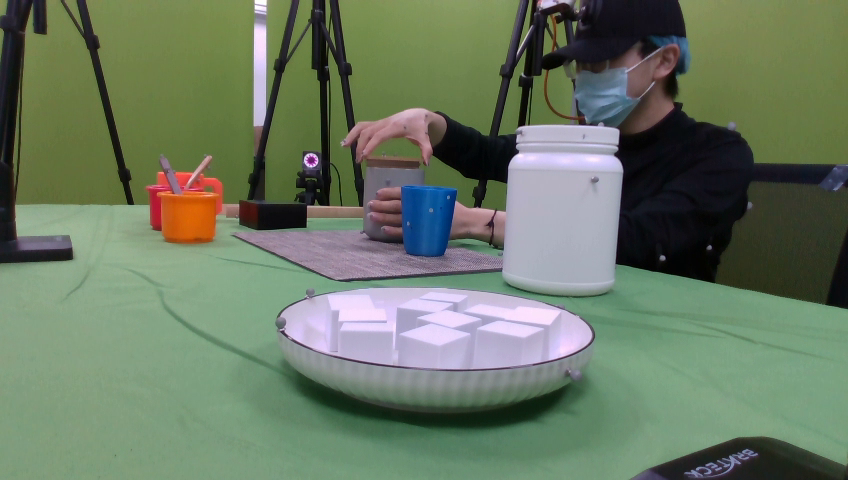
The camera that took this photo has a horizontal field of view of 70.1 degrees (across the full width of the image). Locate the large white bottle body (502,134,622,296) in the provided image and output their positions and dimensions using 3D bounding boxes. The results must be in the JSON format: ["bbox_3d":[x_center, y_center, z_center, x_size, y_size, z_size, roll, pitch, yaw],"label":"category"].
[{"bbox_3d":[0.161,-0.037,0.706,0.131,0.184,0.130,2,7,0],"label":"large white bottle body"}]

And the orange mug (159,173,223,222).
[{"bbox_3d":[-0.477,-0.089,1.241,0.127,0.101,0.083,-7,11,-33],"label":"orange mug"}]

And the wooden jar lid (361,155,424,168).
[{"bbox_3d":[-0.055,-0.136,1.046,0.108,0.020,0.108,2,8,0],"label":"wooden jar lid"}]

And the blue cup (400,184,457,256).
[{"bbox_3d":[0.003,-0.029,0.901,0.093,0.100,0.092,4,8,0],"label":"blue cup"}]

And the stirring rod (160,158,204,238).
[{"bbox_3d":[-0.391,-0.070,0.972,0.014,0.006,0.175,-2,50,-48],"label":"stirring rod"}]

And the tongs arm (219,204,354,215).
[{"bbox_3d":[-0.289,-0.068,1.435,0.389,0.027,0.028,0,-1,-18],"label":"tongs arm"}]

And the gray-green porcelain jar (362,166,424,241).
[{"bbox_3d":[-0.054,-0.064,1.053,0.106,0.126,0.106,2,8,0],"label":"gray-green porcelain jar"}]

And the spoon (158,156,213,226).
[{"bbox_3d":[-0.435,-0.094,1.121,0.041,0.022,0.193,5,51,13],"label":"spoon"}]

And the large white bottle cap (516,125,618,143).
[{"bbox_3d":[0.164,-0.120,0.695,0.115,0.018,0.115,2,7,0],"label":"large white bottle cap"}]

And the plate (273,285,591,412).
[{"bbox_3d":[0.005,0.069,0.408,0.208,0.039,0.207,2,7,0],"label":"plate"}]

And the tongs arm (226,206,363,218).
[{"bbox_3d":[-0.252,-0.062,1.361,0.387,0.026,0.050,-1,3,-32],"label":"tongs arm"}]
